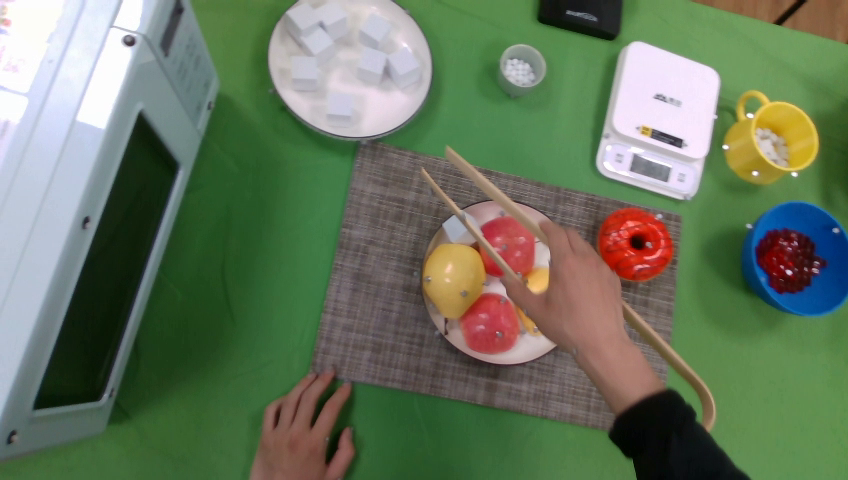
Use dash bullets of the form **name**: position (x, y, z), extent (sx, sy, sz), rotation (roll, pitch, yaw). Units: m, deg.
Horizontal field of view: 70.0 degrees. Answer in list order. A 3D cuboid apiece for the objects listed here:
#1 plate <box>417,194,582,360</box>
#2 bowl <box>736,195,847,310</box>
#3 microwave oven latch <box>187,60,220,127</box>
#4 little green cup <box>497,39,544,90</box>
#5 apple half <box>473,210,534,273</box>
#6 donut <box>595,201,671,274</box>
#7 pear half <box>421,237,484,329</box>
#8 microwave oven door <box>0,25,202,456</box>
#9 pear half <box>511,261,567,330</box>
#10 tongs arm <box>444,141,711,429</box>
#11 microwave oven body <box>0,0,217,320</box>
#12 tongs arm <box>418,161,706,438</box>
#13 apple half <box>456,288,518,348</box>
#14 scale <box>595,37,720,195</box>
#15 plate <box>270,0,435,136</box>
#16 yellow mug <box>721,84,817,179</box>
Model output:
- **plate**: position (0.094, 0.046, 0.758), extent (0.210, 0.038, 0.208), rotation (2, 80, -9)
- **bowl**: position (0.477, 0.021, 0.810), extent (0.152, 0.077, 0.151), rotation (2, 80, -9)
- **microwave oven latch**: position (-0.268, -0.178, 0.724), extent (0.030, 0.029, 0.079), rotation (18, 78, -6)
- **little green cup**: position (0.128, -0.234, 0.819), extent (0.062, 0.038, 0.061), rotation (2, 79, -9)
- **apple half**: position (0.101, 0.000, 0.750), extent (0.075, 0.053, 0.080), rotation (0, 83, -6)
- **donut**: position (0.272, -0.003, 0.794), extent (0.099, 0.048, 0.098), rotation (1, 79, -6)
- **pear half**: position (0.035, 0.052, 0.725), extent (0.077, 0.056, 0.109), rotation (7, 83, -17)
- **microwave oven door**: position (-0.306, 0.010, 0.579), extent (0.039, 0.244, 0.354), rotation (15, 77, -6)
- **pear half**: position (0.145, 0.068, 0.756), extent (0.070, 0.031, 0.087), rotation (12, 75, 6)
- **tongs arm**: position (0.148, 0.034, 0.624), extent (0.028, 0.028, 0.385), rotation (-39, 76, -16)
- **microwave oven body**: position (-0.437, -0.067, 0.576), extent (0.327, 0.260, 0.440), rotation (15, 78, -7)
- **tongs arm**: position (0.130, 0.050, 0.619), extent (0.051, 0.027, 0.382), rotation (-36, 75, -12)
- **apple half**: position (0.080, 0.094, 0.738), extent (0.081, 0.033, 0.081), rotation (3, 72, -9)
- **scale**: position (0.326, -0.174, 0.844), extent (0.149, 0.031, 0.200), rotation (17, 78, -5)
- **plate**: position (-0.091, -0.229, 0.782), extent (0.208, 0.039, 0.206), rotation (2, 79, -9)
- **yellow mug**: position (0.475, -0.157, 0.848), extent (0.100, 0.064, 0.130), rotation (-20, 83, -12)
